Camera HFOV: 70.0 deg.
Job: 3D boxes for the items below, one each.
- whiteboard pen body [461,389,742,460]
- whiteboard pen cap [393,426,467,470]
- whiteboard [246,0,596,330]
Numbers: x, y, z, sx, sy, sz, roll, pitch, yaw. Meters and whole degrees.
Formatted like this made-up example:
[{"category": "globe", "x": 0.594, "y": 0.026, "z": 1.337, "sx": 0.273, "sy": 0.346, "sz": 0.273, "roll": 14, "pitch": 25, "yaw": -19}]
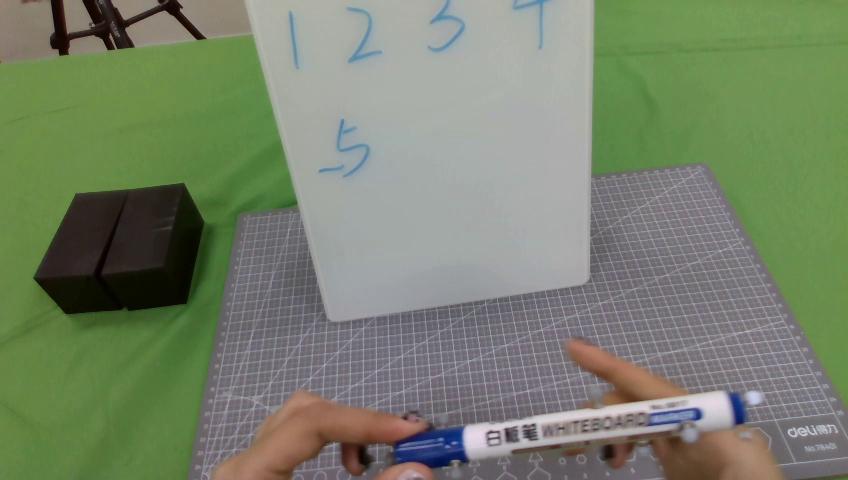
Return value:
[{"category": "whiteboard pen body", "x": 0.061, "y": 0.081, "z": 0.259, "sx": 0.140, "sy": 0.017, "sz": 0.017, "roll": -12, "pitch": 47, "yaw": 12}, {"category": "whiteboard pen cap", "x": 0.004, "y": 0.093, "z": 0.271, "sx": 0.033, "sy": 0.018, "sz": 0.018, "roll": -10, "pitch": 47, "yaw": 9}, {"category": "whiteboard", "x": 0.006, "y": -0.108, "z": 0.474, "sx": 0.217, "sy": 0.308, "sz": 0.142, "roll": -8, "pitch": 29, "yaw": 0}]
